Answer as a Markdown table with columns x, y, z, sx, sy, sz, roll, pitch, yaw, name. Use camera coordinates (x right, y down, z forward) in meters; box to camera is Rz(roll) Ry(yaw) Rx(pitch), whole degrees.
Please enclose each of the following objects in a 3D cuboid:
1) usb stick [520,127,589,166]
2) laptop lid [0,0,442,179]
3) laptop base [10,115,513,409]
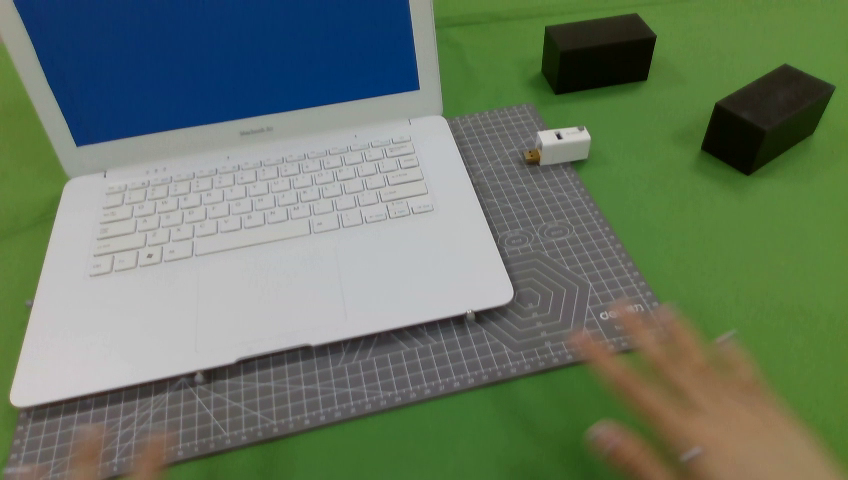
| x | y | z | sx | sy | sz | roll | pitch | yaw | name |
| --- | --- | --- | --- | --- | --- | --- | --- | --- | --- |
| 0.117 | -0.084 | 0.549 | 0.059 | 0.027 | 0.021 | -10 | 46 | -2 | usb stick |
| -0.166 | -0.183 | 0.513 | 0.357 | 0.244 | 0.013 | -13 | 33 | -6 | laptop lid |
| -0.128 | -0.001 | 0.498 | 0.355 | 0.023 | 0.233 | -11 | 51 | -6 | laptop base |
